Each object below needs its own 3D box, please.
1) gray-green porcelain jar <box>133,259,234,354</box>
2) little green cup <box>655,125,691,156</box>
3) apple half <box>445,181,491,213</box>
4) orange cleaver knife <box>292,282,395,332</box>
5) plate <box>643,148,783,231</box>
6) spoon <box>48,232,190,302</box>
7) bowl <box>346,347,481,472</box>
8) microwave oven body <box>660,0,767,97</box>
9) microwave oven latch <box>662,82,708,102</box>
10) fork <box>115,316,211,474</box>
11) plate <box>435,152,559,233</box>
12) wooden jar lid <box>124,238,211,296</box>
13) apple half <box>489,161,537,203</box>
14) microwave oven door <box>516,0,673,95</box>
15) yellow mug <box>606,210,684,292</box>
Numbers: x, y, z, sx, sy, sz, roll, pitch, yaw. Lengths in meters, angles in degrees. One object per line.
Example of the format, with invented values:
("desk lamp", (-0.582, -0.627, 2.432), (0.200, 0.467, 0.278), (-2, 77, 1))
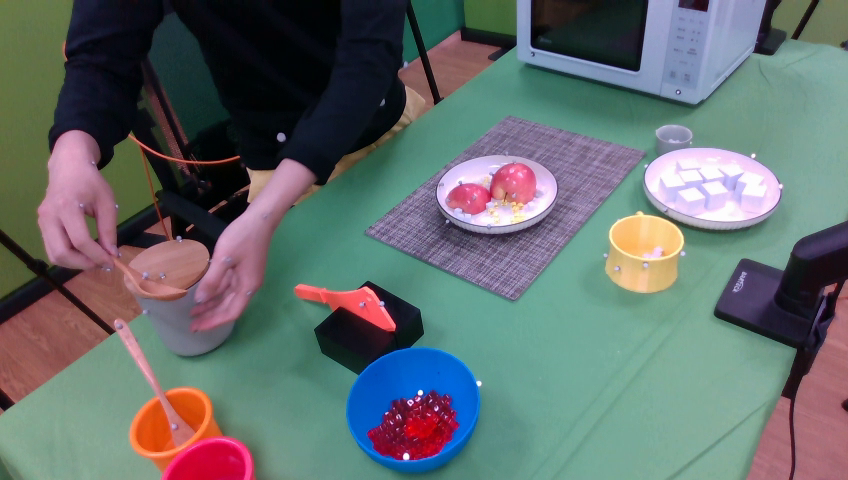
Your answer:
("gray-green porcelain jar", (-0.328, 0.087, 0.836), (0.106, 0.127, 0.105), (-4, 41, 4))
("little green cup", (0.450, -0.177, 1.099), (0.061, 0.039, 0.061), (-6, 41, 5))
("apple half", (0.077, -0.083, 1.029), (0.081, 0.033, 0.081), (-2, 41, 2))
("orange cleaver knife", (-0.116, 0.091, 0.835), (0.209, 0.077, 0.012), (1, 31, 48))
("plate", (0.464, -0.080, 0.986), (0.207, 0.039, 0.206), (-4, 40, 4))
("spoon", (-0.341, 0.026, 0.668), (0.193, 0.021, 0.042), (25, 21, 15))
("bowl", (-0.008, 0.205, 0.691), (0.151, 0.077, 0.150), (-4, 40, 4))
("microwave oven body", (0.474, -0.517, 1.313), (0.438, 0.261, 0.327), (26, 51, 34))
("microwave oven latch", (0.518, -0.298, 1.203), (0.078, 0.029, 0.030), (28, 53, 35))
("fork", (-0.308, 0.179, 0.708), (0.028, 0.018, 0.207), (-30, 89, -23))
("plate", (0.123, -0.078, 1.026), (0.209, 0.038, 0.208), (-4, 40, 4))
("wooden jar lid", (-0.334, 0.038, 0.794), (0.108, 0.021, 0.108), (-3, 39, 3))
("apple half", (0.154, -0.106, 1.030), (0.080, 0.053, 0.075), (22, 46, 31))
("microwave oven door", (0.344, -0.458, 1.256), (0.353, 0.245, 0.039), (26, 51, 33))
("yellow mug", (0.318, 0.007, 0.883), (0.100, 0.064, 0.130), (0, 41, 8))
